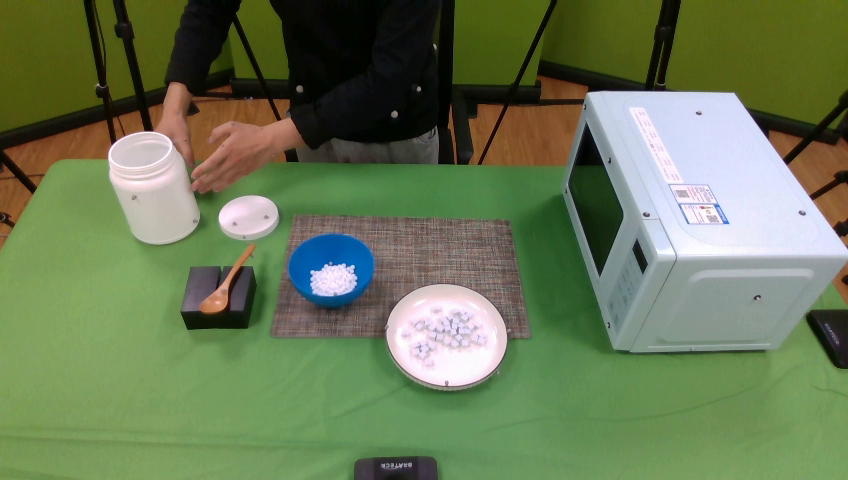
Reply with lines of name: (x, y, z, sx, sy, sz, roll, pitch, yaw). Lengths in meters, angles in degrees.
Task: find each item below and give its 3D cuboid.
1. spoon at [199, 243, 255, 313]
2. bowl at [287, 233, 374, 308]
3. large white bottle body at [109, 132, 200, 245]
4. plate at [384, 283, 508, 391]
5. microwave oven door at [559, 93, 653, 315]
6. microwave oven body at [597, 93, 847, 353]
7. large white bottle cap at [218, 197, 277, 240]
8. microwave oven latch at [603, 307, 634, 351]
spoon: (-0.333, 0.062, 1.051, 0.041, 0.022, 0.193, 8, 40, 8)
bowl: (-0.164, 0.068, 1.078, 0.151, 0.077, 0.150, 3, 45, -3)
large white bottle body: (-0.506, -0.097, 1.141, 0.131, 0.185, 0.130, 2, 46, -2)
plate: (0.036, 0.166, 1.029, 0.209, 0.038, 0.208, 2, 49, -2)
microwave oven door: (0.327, -0.074, 1.123, 0.039, 0.245, 0.353, -1, 46, -5)
microwave oven body: (0.475, -0.041, 1.109, 0.326, 0.261, 0.438, -1, 45, -4)
large white bottle cap: (-0.354, -0.045, 1.220, 0.115, 0.018, 0.114, 2, 45, -2)
microwave oven latch: (0.332, 0.153, 1.044, 0.030, 0.029, 0.078, 0, 45, -4)
